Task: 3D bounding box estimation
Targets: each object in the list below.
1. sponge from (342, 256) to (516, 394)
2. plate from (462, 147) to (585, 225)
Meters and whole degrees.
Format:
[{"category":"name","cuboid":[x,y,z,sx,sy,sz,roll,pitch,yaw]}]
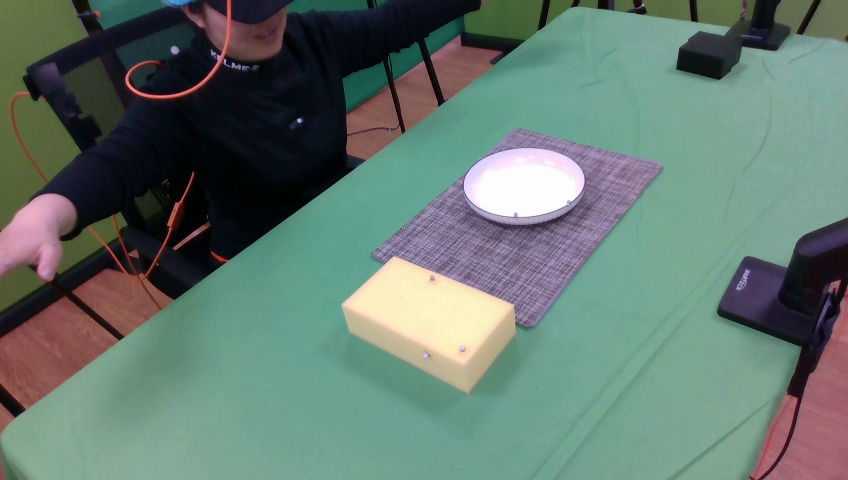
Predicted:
[{"category":"sponge","cuboid":[0.006,0.109,0.827,0.205,0.061,0.118,20,48,30]},{"category":"plate","cuboid":[0.170,-0.089,1.041,0.207,0.039,0.206,-5,40,5]}]
